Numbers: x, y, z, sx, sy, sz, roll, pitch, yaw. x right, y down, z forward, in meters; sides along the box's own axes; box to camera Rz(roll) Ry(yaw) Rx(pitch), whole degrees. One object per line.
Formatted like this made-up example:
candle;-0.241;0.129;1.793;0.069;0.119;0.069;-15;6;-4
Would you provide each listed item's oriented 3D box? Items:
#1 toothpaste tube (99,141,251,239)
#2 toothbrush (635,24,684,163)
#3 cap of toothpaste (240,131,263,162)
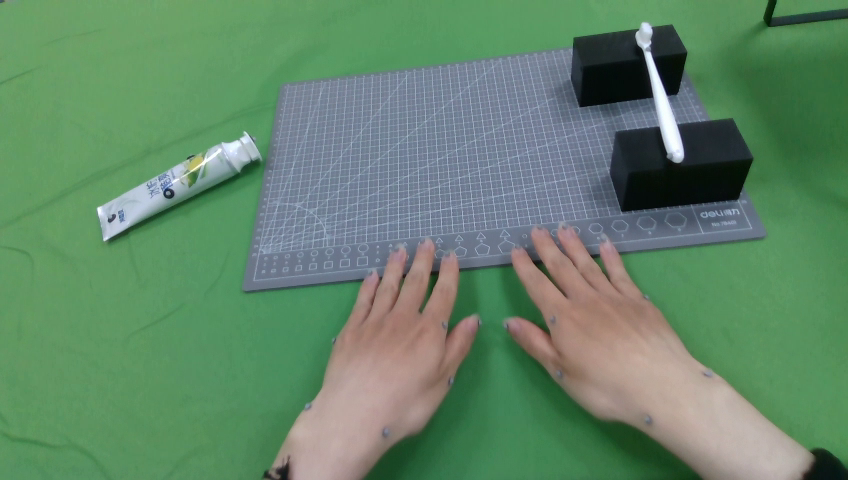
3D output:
toothpaste tube;-0.251;-0.058;0.618;0.165;0.035;0.054;-29;46;-10
toothbrush;0.212;-0.137;0.545;0.014;0.017;0.180;7;53;-4
cap of toothpaste;-0.180;-0.096;0.629;0.011;0.038;0.037;-33;53;-17
